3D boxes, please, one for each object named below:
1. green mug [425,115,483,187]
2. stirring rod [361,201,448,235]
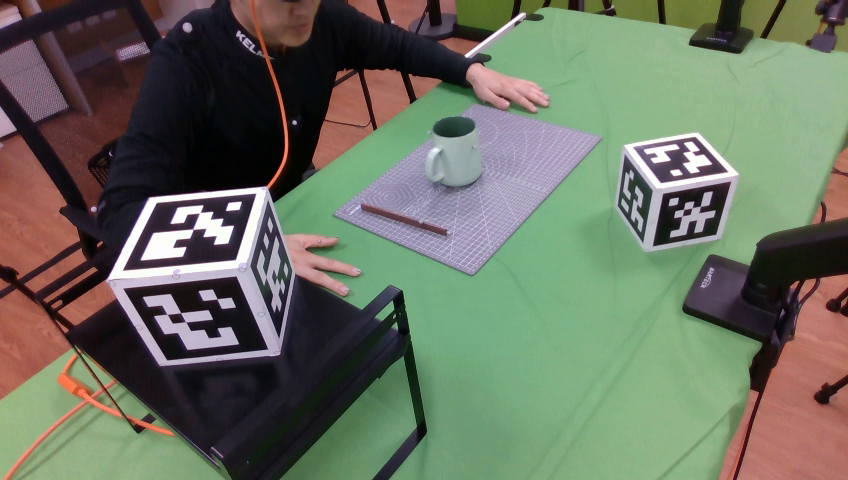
[{"bbox_3d":[0.046,-0.148,1.068,0.092,0.105,0.125,24,49,31],"label":"green mug"},{"bbox_3d":[-0.036,-0.038,1.019,0.175,0.014,0.006,19,53,27],"label":"stirring rod"}]
